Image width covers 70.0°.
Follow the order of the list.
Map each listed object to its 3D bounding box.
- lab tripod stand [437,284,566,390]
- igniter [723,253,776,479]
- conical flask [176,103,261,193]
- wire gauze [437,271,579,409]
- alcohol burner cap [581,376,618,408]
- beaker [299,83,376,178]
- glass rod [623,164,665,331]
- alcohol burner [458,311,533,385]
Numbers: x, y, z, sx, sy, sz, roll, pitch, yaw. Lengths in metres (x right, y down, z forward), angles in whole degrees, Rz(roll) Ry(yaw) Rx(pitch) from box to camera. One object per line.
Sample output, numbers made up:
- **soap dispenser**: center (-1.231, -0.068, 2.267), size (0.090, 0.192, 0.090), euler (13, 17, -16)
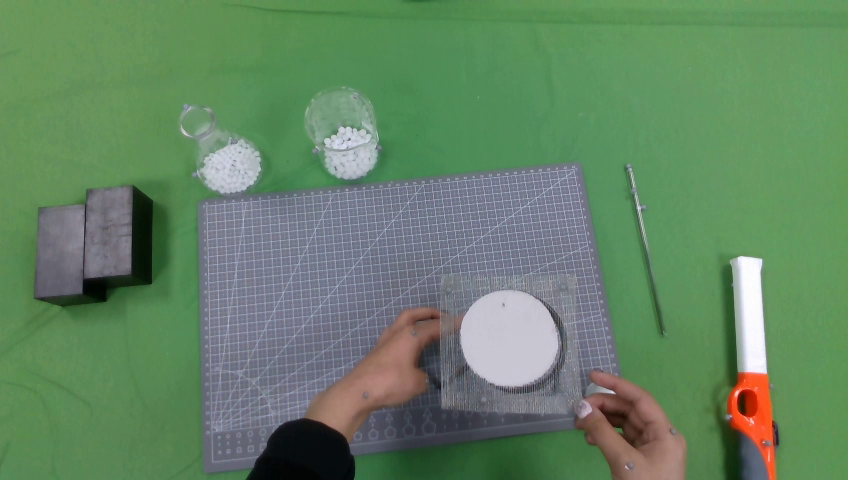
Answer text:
- **lab tripod stand**: center (0.079, 0.107, 0.600), size (0.148, 0.132, 0.147), euler (0, 77, 0)
- **igniter**: center (0.348, 0.149, 0.653), size (0.057, 0.025, 0.275), euler (8, 75, -10)
- **conical flask**: center (-0.227, -0.104, 0.656), size (0.075, 0.122, 0.075), euler (0, 75, -1)
- **wire gauze**: center (0.074, 0.087, 0.536), size (0.125, 0.011, 0.121), euler (1, 78, 2)
- **alcohol burner cap**: center (0.187, 0.159, 0.636), size (0.034, 0.048, 0.033), euler (0, 75, 0)
- **beaker**: center (-0.089, -0.115, 0.674), size (0.084, 0.100, 0.074), euler (29, 77, 6)
- **glass rod**: center (0.252, 0.005, 0.695), size (0.008, 0.008, 0.198), euler (-7, 75, -3)
- **alcohol burner**: center (0.073, 0.107, 0.610), size (0.078, 0.119, 0.077), euler (0, 76, 1)
